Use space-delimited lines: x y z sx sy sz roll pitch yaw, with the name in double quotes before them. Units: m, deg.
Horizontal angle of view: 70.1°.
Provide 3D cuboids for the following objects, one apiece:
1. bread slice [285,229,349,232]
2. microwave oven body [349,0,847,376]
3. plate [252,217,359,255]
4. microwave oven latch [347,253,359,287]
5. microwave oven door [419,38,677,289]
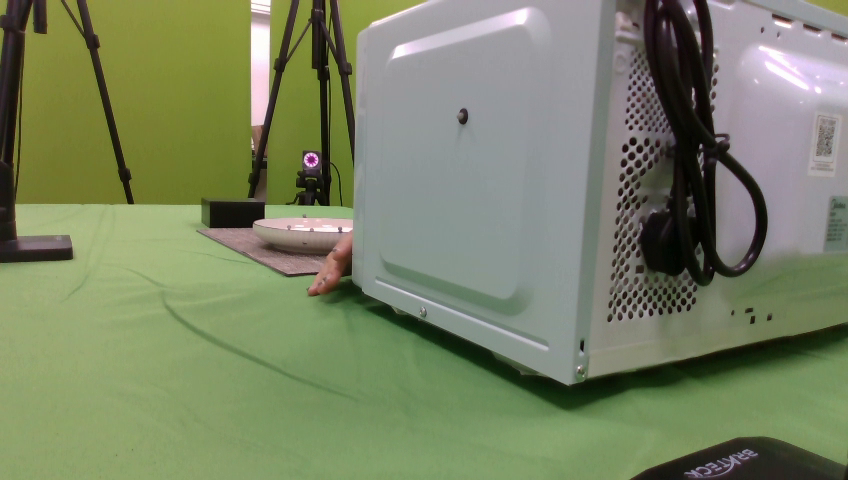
"bread slice" -0.153 -0.004 0.921 0.132 0.019 0.104 0 7 -30
"microwave oven body" 0.199 -0.053 0.540 0.444 0.260 0.324 -1 7 -32
"plate" -0.155 -0.007 0.924 0.209 0.038 0.209 3 7 0
"microwave oven latch" -0.034 0.028 0.581 0.079 0.029 0.030 -1 7 -31
"microwave oven door" 0.159 -0.078 0.684 0.358 0.243 0.039 -2 9 -32
